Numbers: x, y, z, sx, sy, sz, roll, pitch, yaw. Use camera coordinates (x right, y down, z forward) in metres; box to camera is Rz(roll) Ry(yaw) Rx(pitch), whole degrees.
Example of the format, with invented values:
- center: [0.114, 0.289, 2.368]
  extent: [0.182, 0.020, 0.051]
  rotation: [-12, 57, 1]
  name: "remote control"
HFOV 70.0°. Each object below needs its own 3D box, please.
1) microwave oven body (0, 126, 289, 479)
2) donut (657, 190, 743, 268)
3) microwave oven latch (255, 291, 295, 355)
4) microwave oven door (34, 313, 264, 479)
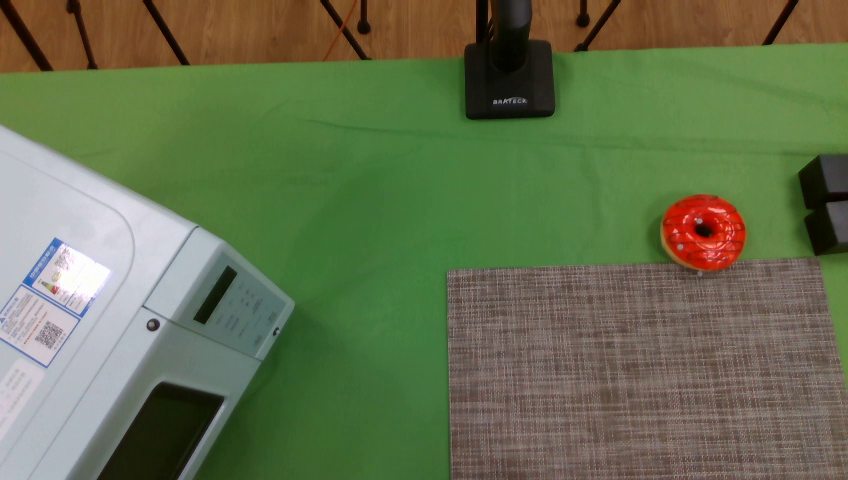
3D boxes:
- center: [-0.402, 0.152, 0.607]
  extent: [0.325, 0.262, 0.440]
  rotation: [25, 76, 11]
  name: "microwave oven body"
- center: [0.333, -0.013, 0.731]
  extent: [0.099, 0.048, 0.098]
  rotation: [-3, 68, 7]
  name: "donut"
- center: [-0.183, 0.094, 0.714]
  extent: [0.030, 0.030, 0.079]
  rotation: [27, 76, 11]
  name: "microwave oven latch"
- center: [-0.292, 0.247, 0.563]
  extent: [0.039, 0.245, 0.354]
  rotation: [25, 75, 12]
  name: "microwave oven door"
